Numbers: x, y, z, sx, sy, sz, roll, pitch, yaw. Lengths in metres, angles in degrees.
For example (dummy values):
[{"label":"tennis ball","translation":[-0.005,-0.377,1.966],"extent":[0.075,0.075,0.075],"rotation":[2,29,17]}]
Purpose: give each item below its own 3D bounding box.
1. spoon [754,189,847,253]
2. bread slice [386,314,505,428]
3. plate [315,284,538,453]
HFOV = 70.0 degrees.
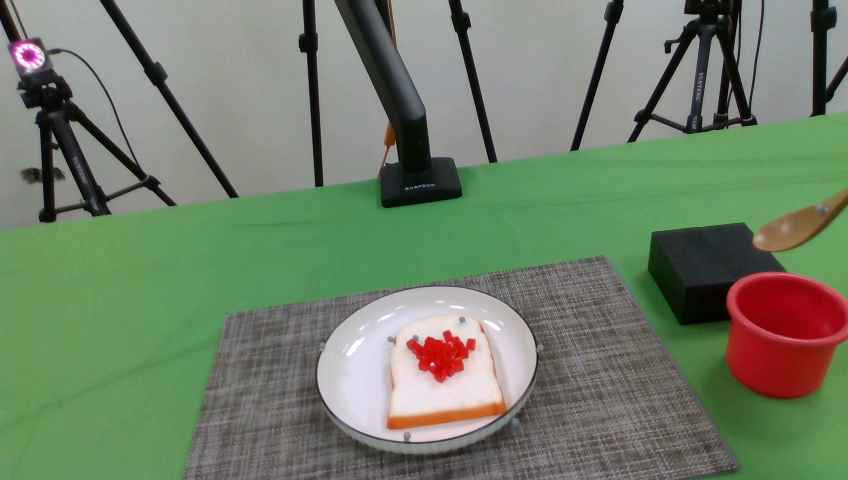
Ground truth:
[{"label":"spoon","translation":[0.303,-0.040,0.398],"extent":[0.021,0.194,0.041],"rotation":[36,54,-1]},{"label":"bread slice","translation":[0.015,0.118,0.577],"extent":[0.105,0.019,0.130],"rotation":[-7,34,0]},{"label":"plate","translation":[0.002,0.119,0.575],"extent":[0.209,0.038,0.207],"rotation":[-5,33,4]}]
